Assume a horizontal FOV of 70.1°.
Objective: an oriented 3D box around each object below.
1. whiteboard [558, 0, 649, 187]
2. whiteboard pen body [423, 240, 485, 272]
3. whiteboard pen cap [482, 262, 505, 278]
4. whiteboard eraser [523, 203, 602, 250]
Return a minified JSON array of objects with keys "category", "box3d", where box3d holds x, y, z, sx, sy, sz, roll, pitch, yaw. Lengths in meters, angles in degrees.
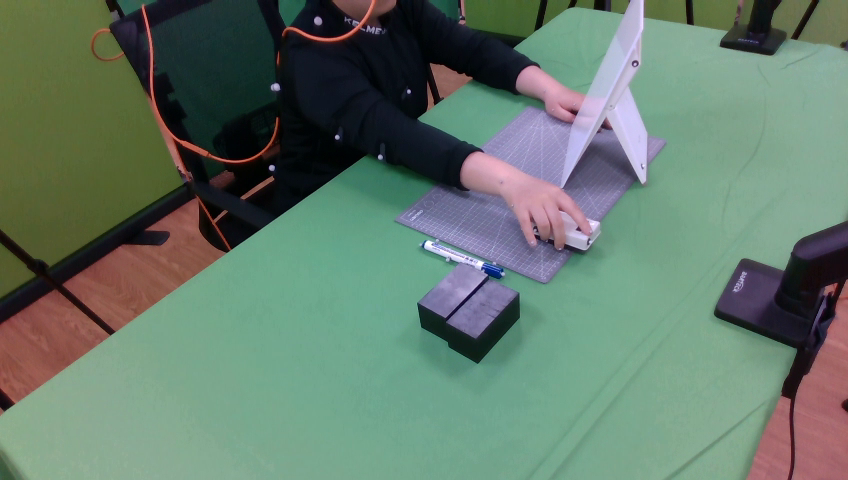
[{"category":"whiteboard","box3d":[0.361,-0.238,1.026,0.144,0.306,0.217,21,44,3]},{"category":"whiteboard pen body","box3d":[0.057,0.027,0.942,0.139,0.017,0.017,22,48,30]},{"category":"whiteboard pen cap","box3d":[0.104,0.044,0.912,0.033,0.018,0.018,21,48,29]},{"category":"whiteboard eraser","box3d":[0.216,-0.019,0.947,0.112,0.042,0.056,20,43,33]}]
